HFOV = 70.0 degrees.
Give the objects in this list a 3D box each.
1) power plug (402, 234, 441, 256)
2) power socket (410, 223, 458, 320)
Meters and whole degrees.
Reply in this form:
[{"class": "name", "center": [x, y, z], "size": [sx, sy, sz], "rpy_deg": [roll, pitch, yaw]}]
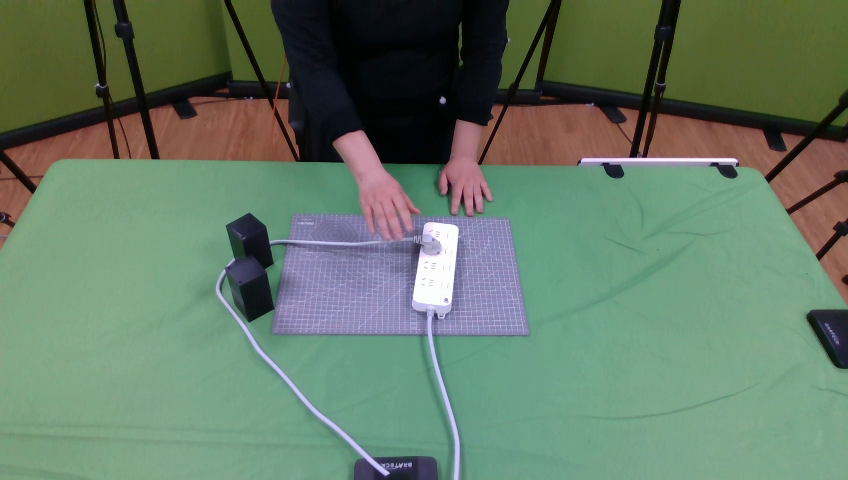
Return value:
[{"class": "power plug", "center": [-0.003, 0.010, 1.151], "size": [0.072, 0.053, 0.035], "rpy_deg": [14, 47, 12]}, {"class": "power socket", "center": [0.022, 0.050, 1.139], "size": [0.072, 0.033, 0.225], "rpy_deg": [6, 46, 3]}]
